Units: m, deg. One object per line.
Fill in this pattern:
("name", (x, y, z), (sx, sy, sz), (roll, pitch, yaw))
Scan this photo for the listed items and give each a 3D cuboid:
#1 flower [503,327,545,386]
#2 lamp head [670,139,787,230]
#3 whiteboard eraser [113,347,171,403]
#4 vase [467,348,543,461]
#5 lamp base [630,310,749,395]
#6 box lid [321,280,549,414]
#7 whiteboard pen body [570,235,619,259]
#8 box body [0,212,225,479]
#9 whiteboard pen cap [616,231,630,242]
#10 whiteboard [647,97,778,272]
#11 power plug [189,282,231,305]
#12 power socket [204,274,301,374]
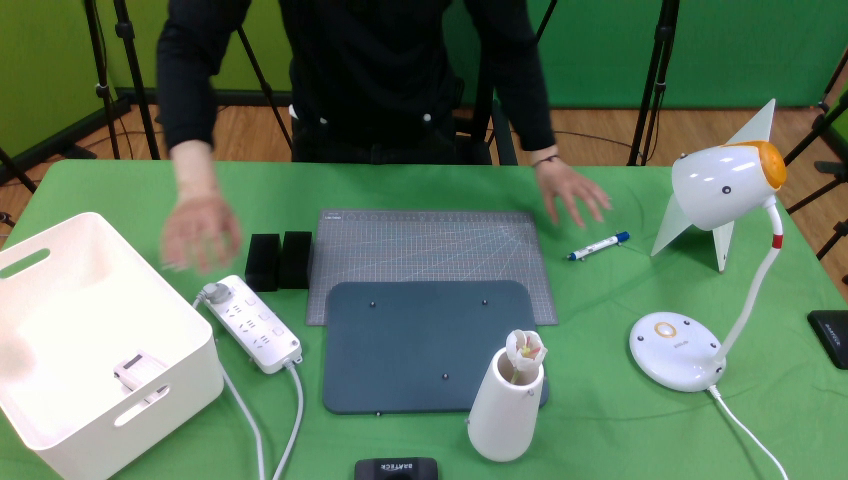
("flower", (0.114, 0.189, 0.790), (0.044, 0.363, 0.038), (34, 69, 18))
("lamp head", (0.415, -0.078, 0.812), (0.113, 0.123, 0.112), (12, 70, -37))
("whiteboard eraser", (-0.420, 0.215, 0.936), (0.112, 0.042, 0.055), (25, 48, 22))
("vase", (0.116, 0.234, 0.860), (0.098, 0.201, 0.097), (1, 47, -1))
("lamp base", (0.447, 0.142, 0.984), (0.161, 0.181, 0.178), (-24, 55, -24))
("box lid", (0.013, 0.174, 1.040), (0.372, 0.015, 0.261), (0, 47, -4))
("whiteboard pen body", (0.351, 0.011, 1.215), (0.141, 0.017, 0.017), (-20, 51, -23))
("box body", (-0.506, 0.155, 0.915), (0.362, 0.161, 0.254), (35, 54, 26))
("whiteboard pen cap", (0.403, -0.007, 1.235), (0.033, 0.018, 0.018), (-18, 50, -24))
("whiteboard", (0.602, -0.079, 1.162), (0.144, 0.306, 0.216), (35, 51, 2))
("power plug", (-0.368, 0.097, 1.038), (0.072, 0.053, 0.035), (-27, 55, -21))
("power socket", (-0.297, 0.140, 1.035), (0.072, 0.033, 0.225), (-33, 57, -29))
